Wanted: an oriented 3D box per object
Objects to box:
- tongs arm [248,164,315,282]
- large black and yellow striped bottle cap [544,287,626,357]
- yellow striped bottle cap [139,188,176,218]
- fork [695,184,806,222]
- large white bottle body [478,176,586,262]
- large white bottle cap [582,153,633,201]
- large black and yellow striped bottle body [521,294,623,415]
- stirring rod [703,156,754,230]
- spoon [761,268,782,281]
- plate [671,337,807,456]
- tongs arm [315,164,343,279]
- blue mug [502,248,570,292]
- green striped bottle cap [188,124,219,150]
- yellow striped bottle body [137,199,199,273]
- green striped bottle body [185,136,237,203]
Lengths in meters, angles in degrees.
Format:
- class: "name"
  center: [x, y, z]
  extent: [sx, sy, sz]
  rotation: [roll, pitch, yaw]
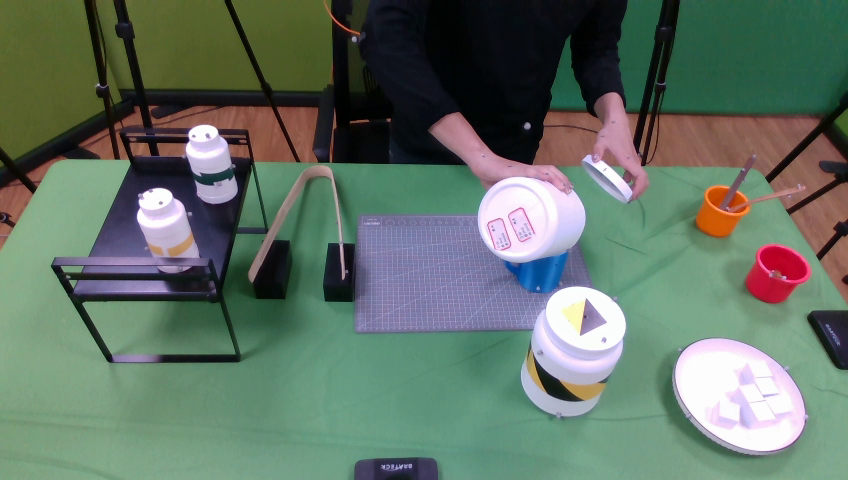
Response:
- class: "tongs arm"
  center: [-0.270, -0.047, 1.165]
  extent: [0.028, 0.028, 0.385]
  rotation: [-1, 34, 7]
- class: "large black and yellow striped bottle cap"
  center: [0.232, 0.116, 0.876]
  extent: [0.115, 0.019, 0.114]
  rotation: [2, 46, -1]
- class: "yellow striped bottle cap"
  center: [-0.363, -0.050, 0.826]
  extent: [0.044, 0.019, 0.044]
  rotation: [0, 47, 0]
- class: "fork"
  center: [0.657, -0.075, 1.230]
  extent: [0.207, 0.019, 0.028]
  rotation: [-23, 34, 37]
- class: "large white bottle body"
  center: [0.182, -0.036, 0.980]
  extent: [0.130, 0.131, 0.185]
  rotation: [34, 20, 25]
- class: "large white bottle cap"
  center: [0.341, -0.118, 1.127]
  extent: [0.018, 0.115, 0.114]
  rotation: [-46, 55, 10]
- class: "large black and yellow striped bottle body"
  center: [0.228, 0.173, 0.938]
  extent: [0.131, 0.185, 0.130]
  rotation: [2, 47, -2]
- class: "stirring rod"
  center: [0.631, -0.098, 1.258]
  extent: [0.014, 0.006, 0.176]
  rotation: [33, 95, 29]
- class: "spoon"
  center: [0.638, 0.060, 1.105]
  extent: [0.041, 0.021, 0.194]
  rotation: [38, 11, 24]
- class: "plate"
  center: [0.504, 0.253, 0.984]
  extent: [0.208, 0.039, 0.206]
  rotation: [2, 46, -2]
- class: "tongs arm"
  center: [-0.188, -0.049, 1.170]
  extent: [0.051, 0.026, 0.382]
  rotation: [-6, 35, -6]
- class: "blue mug"
  center: [0.203, 0.031, 1.121]
  extent: [0.116, 0.106, 0.082]
  rotation: [5, 47, 1]
- class: "green striped bottle cap"
  center: [-0.339, -0.158, 0.931]
  extent: [0.044, 0.020, 0.044]
  rotation: [4, 46, -3]
- class: "yellow striped bottle body"
  center: [-0.366, -0.014, 0.863]
  extent: [0.063, 0.121, 0.062]
  rotation: [2, 46, -2]
- class: "green striped bottle body"
  center: [-0.341, -0.121, 0.968]
  extent: [0.063, 0.120, 0.063]
  rotation: [2, 46, -2]
